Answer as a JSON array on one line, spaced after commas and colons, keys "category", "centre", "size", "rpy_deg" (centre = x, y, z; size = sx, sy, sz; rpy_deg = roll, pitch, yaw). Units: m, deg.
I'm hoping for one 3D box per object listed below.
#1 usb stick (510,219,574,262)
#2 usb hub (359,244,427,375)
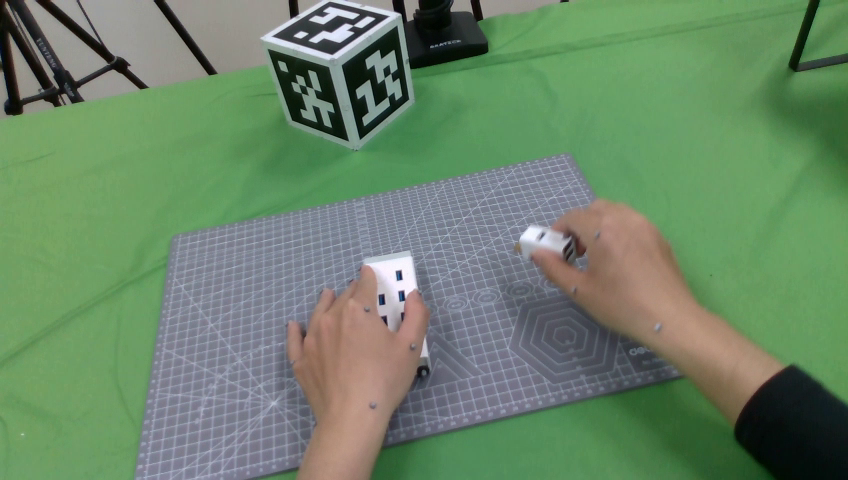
[{"category": "usb stick", "centre": [0.100, -0.001, 0.532], "size": [0.058, 0.027, 0.021], "rpy_deg": [13, 47, 44]}, {"category": "usb hub", "centre": [-0.031, 0.059, 0.542], "size": [0.049, 0.025, 0.124], "rpy_deg": [-11, 46, 1]}]
